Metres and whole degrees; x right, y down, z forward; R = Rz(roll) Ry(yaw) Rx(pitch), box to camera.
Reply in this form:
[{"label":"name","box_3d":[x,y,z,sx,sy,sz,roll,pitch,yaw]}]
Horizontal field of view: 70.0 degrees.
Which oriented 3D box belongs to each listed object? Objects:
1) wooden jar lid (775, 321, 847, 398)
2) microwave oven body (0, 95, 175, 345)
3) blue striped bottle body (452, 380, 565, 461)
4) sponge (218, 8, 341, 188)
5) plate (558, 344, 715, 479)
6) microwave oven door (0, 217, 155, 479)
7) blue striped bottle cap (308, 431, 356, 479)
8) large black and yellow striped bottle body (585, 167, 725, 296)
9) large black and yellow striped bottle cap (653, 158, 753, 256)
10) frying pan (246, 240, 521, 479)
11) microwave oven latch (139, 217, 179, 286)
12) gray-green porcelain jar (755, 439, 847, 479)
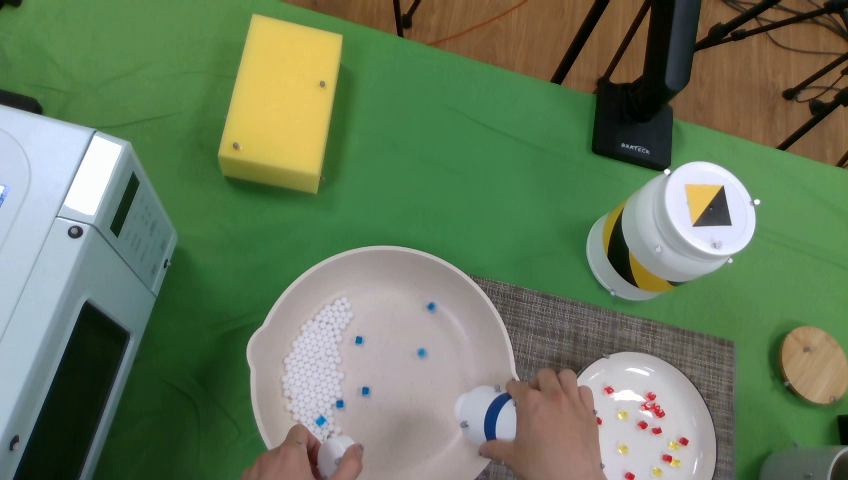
[{"label":"wooden jar lid","box_3d":[0.540,0.168,0.850,0.109,0.021,0.108,3,73,-11]},{"label":"microwave oven body","box_3d":[-0.460,0.105,0.512,0.327,0.261,0.439,15,70,-8]},{"label":"blue striped bottle body","box_3d":[0.081,0.183,0.632,0.063,0.120,0.063,0,90,-38]},{"label":"sponge","box_3d":[-0.180,-0.181,0.777,0.118,0.061,0.205,9,71,-10]},{"label":"plate","box_3d":[0.257,0.235,0.751,0.210,0.038,0.208,4,72,-11]},{"label":"microwave oven door","box_3d":[-0.328,0.179,0.512,0.039,0.244,0.353,14,70,-8]},{"label":"blue striped bottle cap","box_3d":[-0.088,0.205,0.576,0.044,0.021,0.044,-9,66,20]},{"label":"large black and yellow striped bottle body","box_3d":[0.300,-0.012,0.766,0.131,0.184,0.130,4,71,-11]},{"label":"large black and yellow striped bottle cap","box_3d":[0.317,-0.038,0.686,0.115,0.019,0.114,4,70,-11]},{"label":"frying pan","box_3d":[-0.061,0.237,0.645,0.307,0.103,0.484,13,62,-6]},{"label":"microwave oven latch","box_3d":[-0.302,0.010,0.682,0.030,0.029,0.078,17,70,-7]},{"label":"gray-green porcelain jar","box_3d":[0.483,0.298,0.738,0.106,0.127,0.105,4,71,-11]}]
